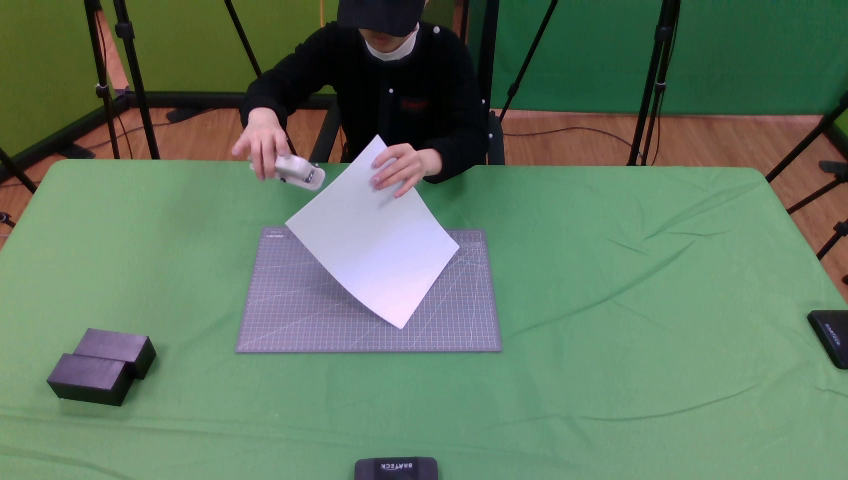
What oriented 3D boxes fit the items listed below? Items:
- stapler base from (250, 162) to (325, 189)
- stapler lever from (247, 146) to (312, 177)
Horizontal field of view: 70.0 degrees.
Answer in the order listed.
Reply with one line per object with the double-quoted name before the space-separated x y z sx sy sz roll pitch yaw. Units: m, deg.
"stapler base" -0.228 -0.121 0.996 0.130 0.024 0.041 18 75 15
"stapler lever" -0.234 -0.128 0.972 0.118 0.040 0.027 18 75 15
